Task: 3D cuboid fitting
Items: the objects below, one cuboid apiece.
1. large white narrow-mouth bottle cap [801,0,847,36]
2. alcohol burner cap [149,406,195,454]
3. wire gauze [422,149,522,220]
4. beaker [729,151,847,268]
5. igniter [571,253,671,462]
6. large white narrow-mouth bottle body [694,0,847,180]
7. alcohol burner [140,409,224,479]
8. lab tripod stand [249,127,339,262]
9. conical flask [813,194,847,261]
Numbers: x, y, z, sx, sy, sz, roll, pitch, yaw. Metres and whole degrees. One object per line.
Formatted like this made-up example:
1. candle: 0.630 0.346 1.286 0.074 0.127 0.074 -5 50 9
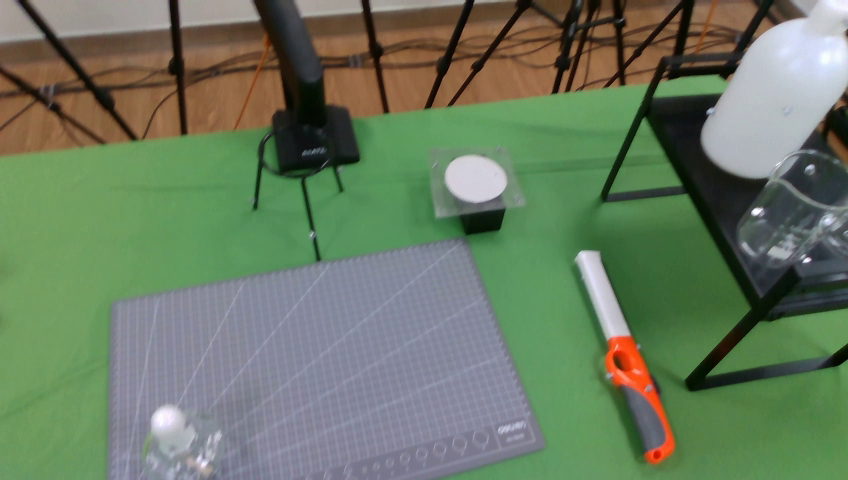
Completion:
1. large white narrow-mouth bottle cap: 0.378 -0.211 0.568 0.038 0.024 0.037 3 53 -4
2. alcohol burner cap: -0.234 0.172 0.556 0.034 0.048 0.033 1 48 0
3. wire gauze: 0.062 -0.081 0.831 0.122 0.011 0.123 -4 53 -8
4. beaker: 0.352 -0.026 0.594 0.084 0.101 0.073 7 52 1
5. igniter: 0.235 0.131 0.736 0.057 0.025 0.273 1 52 -17
6. large white narrow-mouth bottle body: 0.370 -0.160 0.636 0.102 0.196 0.101 3 53 -3
7. alcohol burner: -0.237 0.194 0.585 0.078 0.120 0.077 4 51 -4
8. lab tripod stand: -0.162 -0.065 0.781 0.148 0.132 0.147 4 53 -5
9. conical flask: 0.451 -0.038 0.597 0.075 0.123 0.074 2 53 -3
